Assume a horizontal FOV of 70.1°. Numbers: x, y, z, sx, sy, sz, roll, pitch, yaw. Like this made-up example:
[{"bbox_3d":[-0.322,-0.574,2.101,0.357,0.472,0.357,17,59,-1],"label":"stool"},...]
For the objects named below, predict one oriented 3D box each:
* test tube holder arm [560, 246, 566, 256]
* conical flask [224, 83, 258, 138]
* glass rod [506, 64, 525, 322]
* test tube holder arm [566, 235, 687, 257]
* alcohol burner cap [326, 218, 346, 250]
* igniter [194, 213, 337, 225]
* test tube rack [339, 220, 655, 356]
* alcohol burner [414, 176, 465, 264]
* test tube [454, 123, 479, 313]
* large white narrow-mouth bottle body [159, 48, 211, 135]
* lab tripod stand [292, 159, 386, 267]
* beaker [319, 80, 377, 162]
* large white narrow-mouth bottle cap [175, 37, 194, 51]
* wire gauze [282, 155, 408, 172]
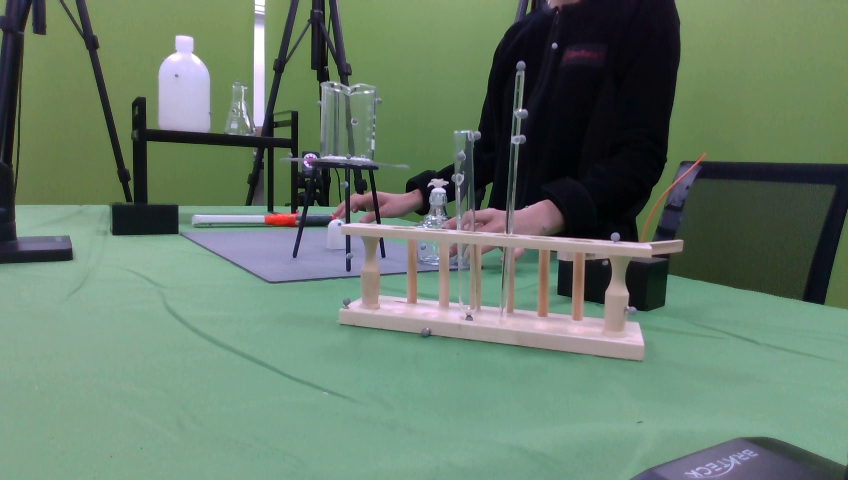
[{"bbox_3d":[0.173,0.007,0.611,0.088,0.015,0.010,-3,9,-30],"label":"test tube holder arm"},{"bbox_3d":[-0.422,-0.299,1.395,0.075,0.122,0.075,2,7,0],"label":"conical flask"},{"bbox_3d":[0.069,-0.030,0.458,0.008,0.199,0.008,0,15,0],"label":"glass rod"},{"bbox_3d":[0.215,0.006,0.630,0.179,0.015,0.013,-3,9,-31],"label":"test tube holder arm"},{"bbox_3d":[-0.133,-0.010,0.927,0.034,0.048,0.034,6,7,0],"label":"alcohol burner cap"},{"bbox_3d":[-0.306,-0.042,1.196,0.278,0.025,0.057,-2,-3,-31],"label":"igniter"},{"bbox_3d":[0.056,0.032,0.495,0.242,0.085,0.067,4,7,15],"label":"test tube rack"},{"bbox_3d":[0.020,-0.028,0.826,0.078,0.119,0.078,0,6,0],"label":"alcohol burner"},{"bbox_3d":[0.034,-0.016,0.477,0.017,0.150,0.017,-2,9,1],"label":"test tube"},{"bbox_3d":[-0.503,-0.323,1.275,0.102,0.194,0.102,2,7,0],"label":"large white narrow-mouth bottle body"},{"bbox_3d":[-0.105,-0.039,0.797,0.148,0.131,0.148,2,5,0],"label":"lab tripod stand"},{"bbox_3d":[-0.098,-0.150,0.777,0.074,0.100,0.084,1,7,-7],"label":"beaker"},{"bbox_3d":[-0.501,-0.409,1.264,0.038,0.024,0.037,2,7,0],"label":"large white narrow-mouth bottle cap"},{"bbox_3d":[-0.104,-0.103,0.785,0.126,0.011,0.121,1,8,-39],"label":"wire gauze"}]
